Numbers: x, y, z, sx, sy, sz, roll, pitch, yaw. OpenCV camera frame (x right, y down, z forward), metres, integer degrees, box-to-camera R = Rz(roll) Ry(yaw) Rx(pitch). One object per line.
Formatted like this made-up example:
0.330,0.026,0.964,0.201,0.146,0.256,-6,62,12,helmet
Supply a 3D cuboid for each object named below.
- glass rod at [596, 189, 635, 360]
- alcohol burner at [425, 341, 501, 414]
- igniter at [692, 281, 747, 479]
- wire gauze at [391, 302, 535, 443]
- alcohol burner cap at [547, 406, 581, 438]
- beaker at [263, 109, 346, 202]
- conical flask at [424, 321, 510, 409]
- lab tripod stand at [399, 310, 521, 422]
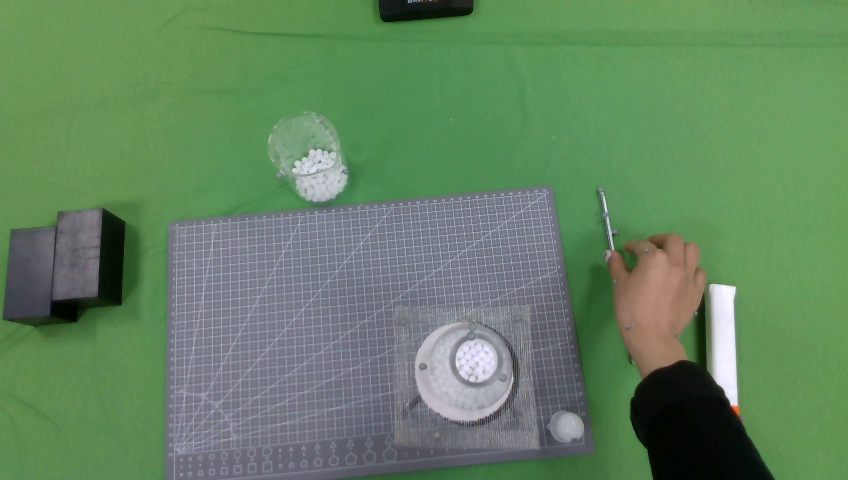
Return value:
0.216,0.035,0.684,0.008,0.008,0.198,-7,75,-1,glass rod
0.039,0.138,0.603,0.078,0.120,0.077,-1,75,3,alcohol burner
0.308,0.179,0.636,0.057,0.025,0.275,8,75,-8,igniter
0.034,0.115,0.530,0.125,0.011,0.121,1,78,-1,wire gauze
0.146,0.188,0.624,0.034,0.048,0.033,-1,75,2,alcohol burner cap
-0.125,-0.088,0.675,0.084,0.101,0.074,29,78,8,beaker
0.036,0.095,0.474,0.075,0.122,0.075,0,77,1,conical flask
0.037,0.134,0.593,0.148,0.132,0.147,0,77,1,lab tripod stand
